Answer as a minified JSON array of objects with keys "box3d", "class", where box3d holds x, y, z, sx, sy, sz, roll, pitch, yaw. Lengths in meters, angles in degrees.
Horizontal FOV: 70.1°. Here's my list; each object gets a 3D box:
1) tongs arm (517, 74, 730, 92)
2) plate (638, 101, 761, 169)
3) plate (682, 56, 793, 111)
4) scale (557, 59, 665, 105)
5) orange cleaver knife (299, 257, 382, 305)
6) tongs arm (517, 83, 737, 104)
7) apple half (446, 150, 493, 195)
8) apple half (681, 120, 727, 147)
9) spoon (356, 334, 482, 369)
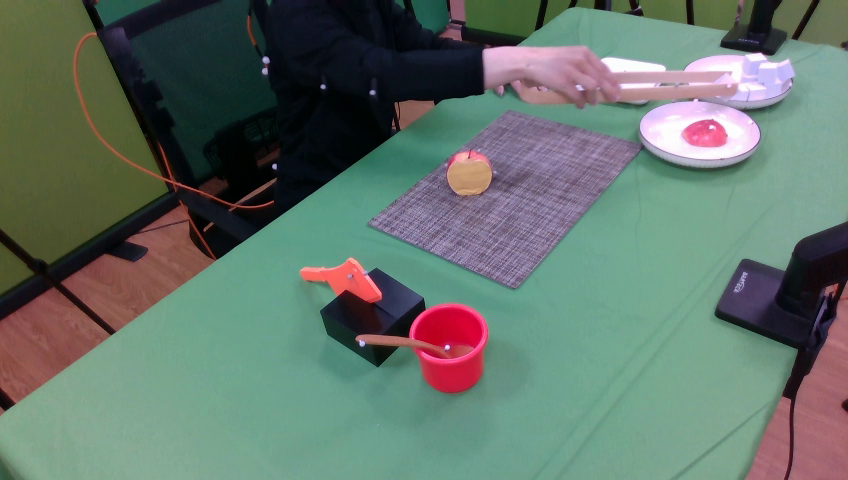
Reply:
[{"box3d":[0.357,-0.281,1.083,0.388,0.028,0.028,-2,49,-3],"class":"tongs arm"},{"box3d":[0.500,-0.189,1.111,0.209,0.038,0.208,-4,41,4],"class":"plate"},{"box3d":[0.636,-0.317,1.239,0.207,0.039,0.206,-4,40,4],"class":"plate"},{"box3d":[0.407,-0.348,1.314,0.199,0.032,0.149,19,47,28],"class":"scale"},{"box3d":[-0.124,0.062,0.872,0.012,0.077,0.210,-38,17,-30],"class":"orange cleaver knife"},{"box3d":[0.359,-0.265,1.066,0.386,0.026,0.050,-5,46,-6],"class":"tongs arm"},{"box3d":[0.080,-0.123,1.065,0.081,0.075,0.053,-7,36,7],"class":"apple half"},{"box3d":[0.518,-0.202,1.115,0.081,0.033,0.081,-1,40,2],"class":"apple half"},{"box3d":[-0.001,0.130,0.731,0.195,0.021,0.041,21,28,-39],"class":"spoon"}]
